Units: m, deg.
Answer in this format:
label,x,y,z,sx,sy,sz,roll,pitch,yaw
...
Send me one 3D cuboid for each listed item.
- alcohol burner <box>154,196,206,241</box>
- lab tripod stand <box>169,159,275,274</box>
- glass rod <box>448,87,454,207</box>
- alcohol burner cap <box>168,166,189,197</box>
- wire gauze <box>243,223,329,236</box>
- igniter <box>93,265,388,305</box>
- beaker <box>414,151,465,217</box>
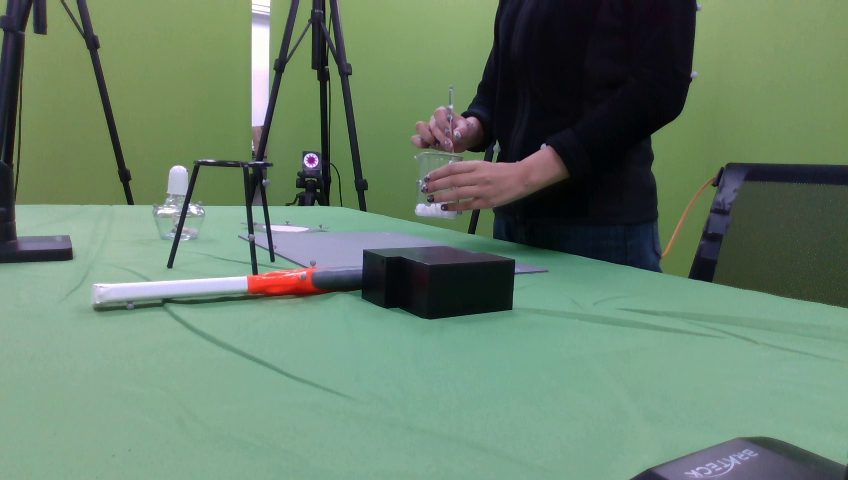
label,x,y,z,sx,sy,sz,roll,pitch,yaw
alcohol burner,-0.393,-0.059,0.974,0.078,0.119,0.078,1,8,0
lab tripod stand,-0.230,-0.030,0.724,0.148,0.131,0.148,1,9,0
glass rod,0.042,-0.149,0.962,0.008,0.199,0.008,-1,-9,0
alcohol burner cap,-0.392,-0.095,0.970,0.034,0.048,0.034,7,7,-1
wire gauze,-0.266,-0.024,1.156,0.124,0.011,0.122,12,12,40
igniter,-0.164,0.042,0.589,0.278,0.025,0.057,-2,-6,-31
beaker,0.021,-0.087,0.955,0.084,0.100,0.073,2,3,-22
